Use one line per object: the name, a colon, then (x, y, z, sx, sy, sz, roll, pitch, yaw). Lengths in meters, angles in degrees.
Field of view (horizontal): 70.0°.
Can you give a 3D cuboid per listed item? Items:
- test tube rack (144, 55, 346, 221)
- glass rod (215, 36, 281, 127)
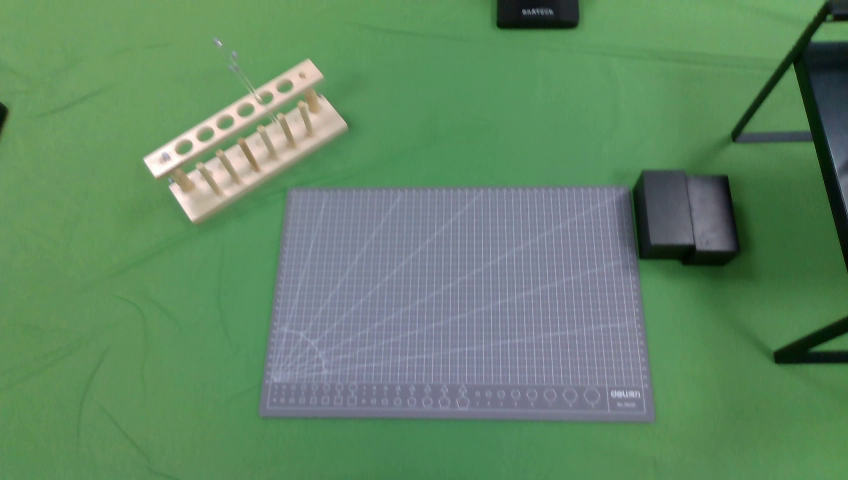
test tube rack: (-0.226, -0.133, 0.793, 0.242, 0.086, 0.066, -35, 70, -11)
glass rod: (-0.210, -0.188, 0.743, 0.008, 0.201, 0.008, -2, 73, 7)
